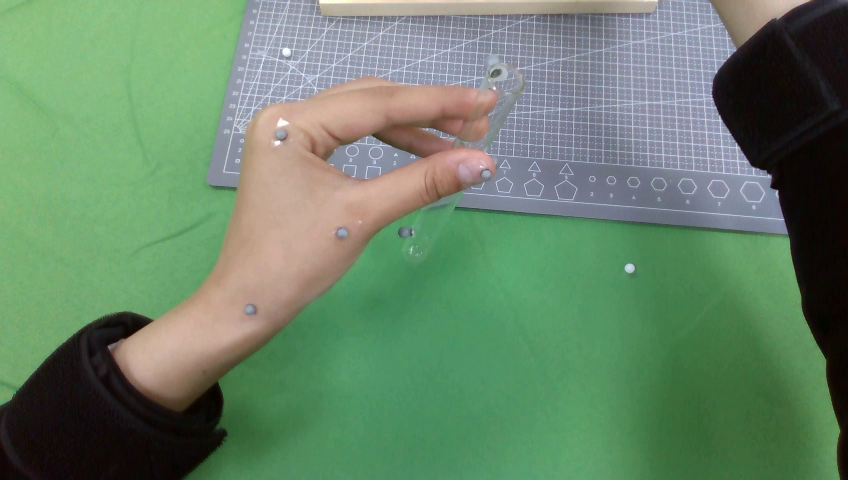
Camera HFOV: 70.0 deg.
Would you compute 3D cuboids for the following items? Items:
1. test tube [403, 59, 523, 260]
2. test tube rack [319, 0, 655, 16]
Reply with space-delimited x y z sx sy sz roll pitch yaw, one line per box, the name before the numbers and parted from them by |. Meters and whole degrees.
test tube | 0.012 -0.028 0.287 0.017 0.151 0.017 7 61 -12
test tube rack | 0.045 -0.211 0.415 0.242 0.086 0.066 -1 70 -1
